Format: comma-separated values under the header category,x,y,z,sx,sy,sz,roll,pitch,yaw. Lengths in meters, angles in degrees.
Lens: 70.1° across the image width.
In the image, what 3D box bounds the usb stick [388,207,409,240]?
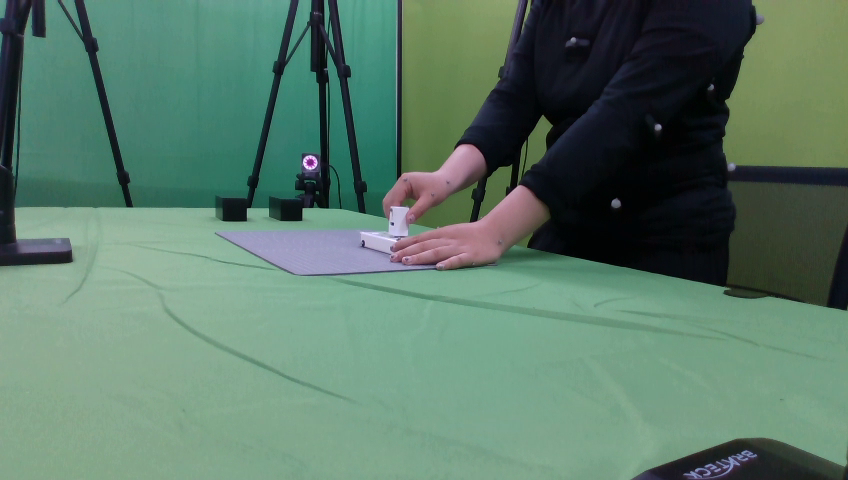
category,x,y,z,sx,sy,sz,roll,pitch,yaw
usb stick,-0.040,-0.022,0.930,0.027,0.059,0.021,-5,11,-35

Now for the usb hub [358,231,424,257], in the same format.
category,x,y,z,sx,sy,sz,roll,pitch,yaw
usb hub,-0.054,0.005,0.946,0.050,0.025,0.124,-3,9,-34
